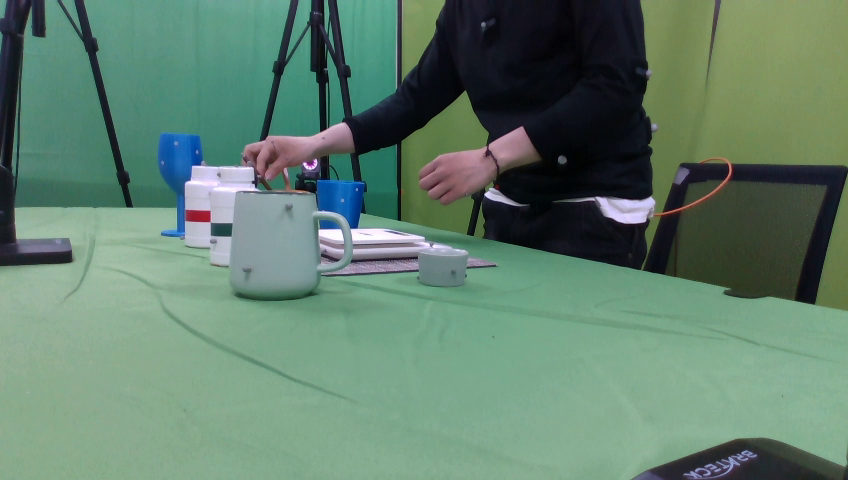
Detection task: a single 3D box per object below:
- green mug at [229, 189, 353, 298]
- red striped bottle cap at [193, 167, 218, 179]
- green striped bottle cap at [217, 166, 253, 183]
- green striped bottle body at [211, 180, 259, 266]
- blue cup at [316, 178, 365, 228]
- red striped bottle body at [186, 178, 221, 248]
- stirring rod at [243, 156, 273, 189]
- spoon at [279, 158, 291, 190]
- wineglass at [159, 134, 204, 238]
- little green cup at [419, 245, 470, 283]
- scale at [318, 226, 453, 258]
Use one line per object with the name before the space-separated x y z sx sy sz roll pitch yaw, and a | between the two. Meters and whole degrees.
green mug | -0.135 0.002 0.618 0.125 0.105 0.092 2 7 4
red striped bottle cap | -0.329 -0.102 0.921 0.044 0.017 0.044 1 8 0
green striped bottle cap | -0.242 -0.085 0.777 0.044 0.020 0.044 2 8 0
green striped bottle body | -0.243 -0.029 0.784 0.063 0.119 0.063 2 7 0
blue cup | -0.149 -0.057 1.072 0.093 0.100 0.092 3 8 0
red striped bottle body | -0.331 -0.050 0.927 0.063 0.119 0.063 2 6 0
stirring rod | -0.303 -0.099 1.202 0.006 0.177 0.014 -25 37 10
spoon | -0.281 -0.102 1.252 0.042 0.193 0.021 4 -38 -28
wineglass | -0.415 -0.093 1.040 0.074 0.172 0.073 2 7 0
little green cup | 0.023 0.028 0.712 0.061 0.038 0.061 2 6 0
scale | -0.066 0.001 0.906 0.202 0.031 0.148 -2 8 -31
